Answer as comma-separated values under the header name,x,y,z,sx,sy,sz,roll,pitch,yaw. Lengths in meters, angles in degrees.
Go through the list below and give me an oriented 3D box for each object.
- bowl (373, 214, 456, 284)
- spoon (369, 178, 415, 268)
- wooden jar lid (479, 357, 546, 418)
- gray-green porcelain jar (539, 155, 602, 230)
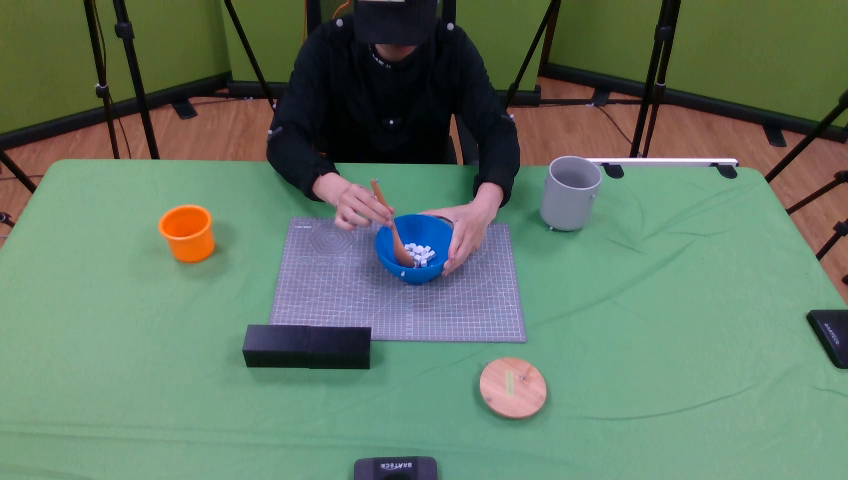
name,x,y,z,sx,sy,sz,roll,pitch,yaw
bowl,-0.017,0.028,1.123,0.151,0.077,0.150,1,43,-1
spoon,-0.059,-0.026,1.075,0.041,0.194,0.021,4,34,41
wooden jar lid,0.142,0.240,0.979,0.108,0.021,0.107,1,46,-1
gray-green porcelain jar,0.294,-0.091,1.235,0.106,0.127,0.105,2,46,-2
